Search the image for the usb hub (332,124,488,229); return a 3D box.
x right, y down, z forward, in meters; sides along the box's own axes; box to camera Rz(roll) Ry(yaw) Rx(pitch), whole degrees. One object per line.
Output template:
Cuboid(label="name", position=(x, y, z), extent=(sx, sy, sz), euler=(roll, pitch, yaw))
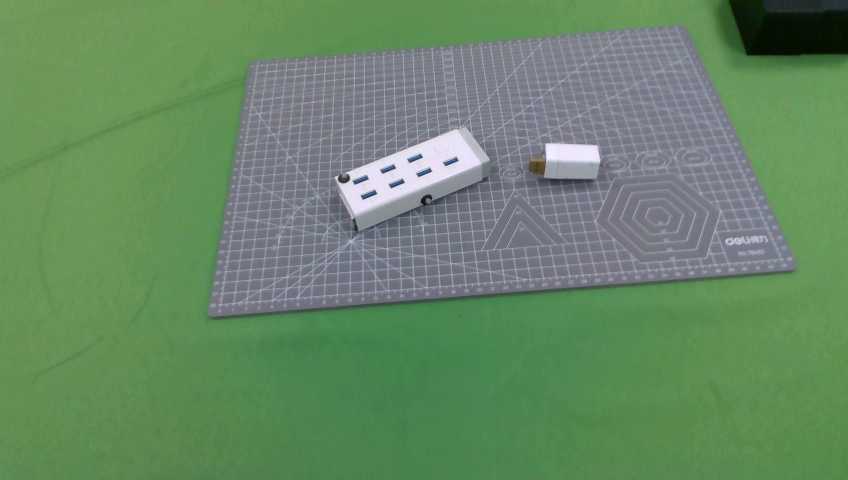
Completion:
Cuboid(label="usb hub", position=(-0.012, -0.056, 0.514), extent=(0.125, 0.025, 0.049), euler=(-23, 57, -11))

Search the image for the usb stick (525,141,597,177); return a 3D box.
Cuboid(label="usb stick", position=(0.115, -0.069, 0.513), extent=(0.059, 0.022, 0.027), euler=(0, 45, 2))
